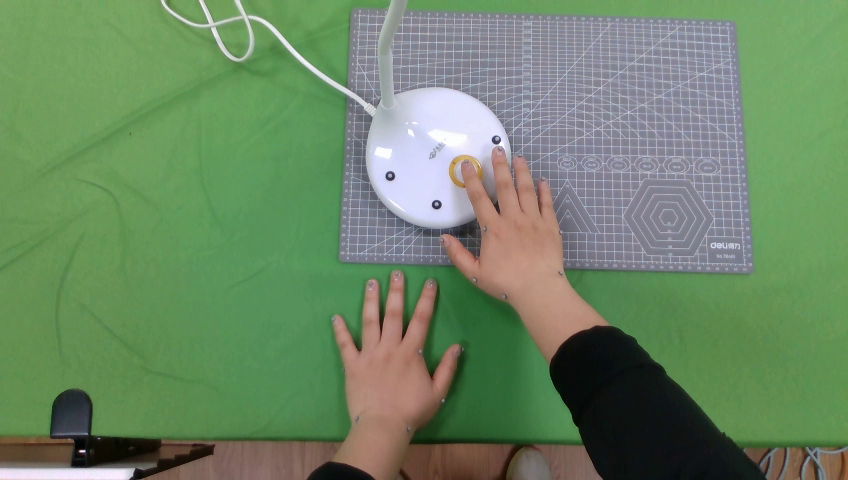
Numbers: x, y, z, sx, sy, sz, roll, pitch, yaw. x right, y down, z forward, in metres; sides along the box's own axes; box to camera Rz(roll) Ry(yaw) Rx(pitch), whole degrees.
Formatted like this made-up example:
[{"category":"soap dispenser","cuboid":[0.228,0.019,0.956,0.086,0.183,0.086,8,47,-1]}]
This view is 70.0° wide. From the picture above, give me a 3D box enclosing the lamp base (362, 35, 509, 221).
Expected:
[{"category":"lamp base","cuboid":[0.002,-0.118,0.588,0.179,0.181,0.160,28,80,8]}]
